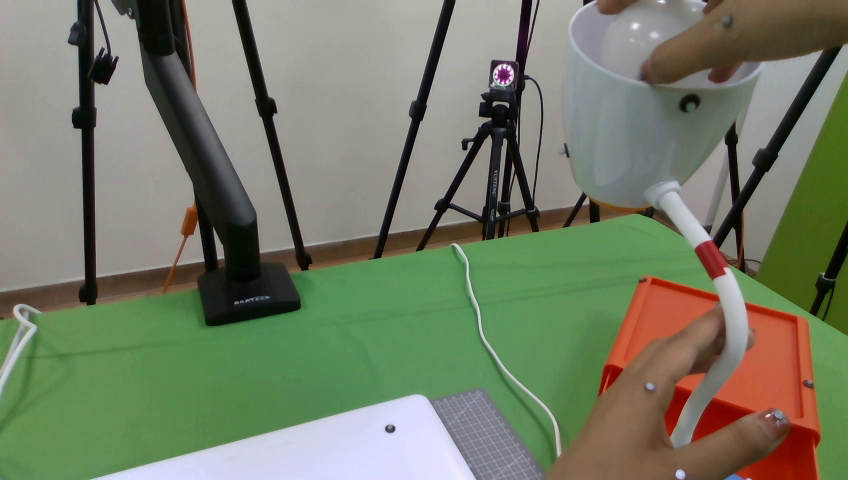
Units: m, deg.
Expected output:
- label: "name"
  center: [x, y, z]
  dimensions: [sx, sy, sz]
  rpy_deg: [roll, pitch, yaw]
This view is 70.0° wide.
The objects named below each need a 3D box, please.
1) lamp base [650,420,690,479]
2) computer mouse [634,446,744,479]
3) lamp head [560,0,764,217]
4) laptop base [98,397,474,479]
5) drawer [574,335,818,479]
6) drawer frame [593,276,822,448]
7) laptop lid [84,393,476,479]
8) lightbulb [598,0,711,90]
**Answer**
- label: "lamp base"
  center: [0.162, 0.224, 0.397]
  dimensions: [0.161, 0.181, 0.177]
  rpy_deg: [1, 25, -8]
- label: "computer mouse"
  center: [0.246, 0.227, 0.549]
  dimensions: [0.117, 0.041, 0.062]
  rpy_deg: [15, 29, 14]
- label: "lamp head"
  center: [0.140, -0.075, 0.387]
  dimensions: [0.112, 0.124, 0.111]
  rpy_deg: [-1, 42, 2]
- label: "laptop base"
  center: [-0.116, 0.250, 0.491]
  dimensions: [0.356, 0.023, 0.233]
  rpy_deg: [-9, 33, -23]
- label: "drawer"
  center: [0.267, 0.188, 0.595]
  dimensions: [0.193, 0.074, 0.211]
  rpy_deg: [14, 29, 21]
- label: "drawer frame"
  center: [0.317, 0.142, 0.683]
  dimensions: [0.200, 0.083, 0.213]
  rpy_deg: [15, 29, 22]
- label: "laptop lid"
  center: [-0.115, 0.241, 0.484]
  dimensions: [0.358, 0.013, 0.239]
  rpy_deg: [-8, 32, -21]
- label: "lightbulb"
  center: [0.133, -0.092, 0.360]
  dimensions: [0.059, 0.109, 0.059]
  rpy_deg: [-5, 59, 9]
